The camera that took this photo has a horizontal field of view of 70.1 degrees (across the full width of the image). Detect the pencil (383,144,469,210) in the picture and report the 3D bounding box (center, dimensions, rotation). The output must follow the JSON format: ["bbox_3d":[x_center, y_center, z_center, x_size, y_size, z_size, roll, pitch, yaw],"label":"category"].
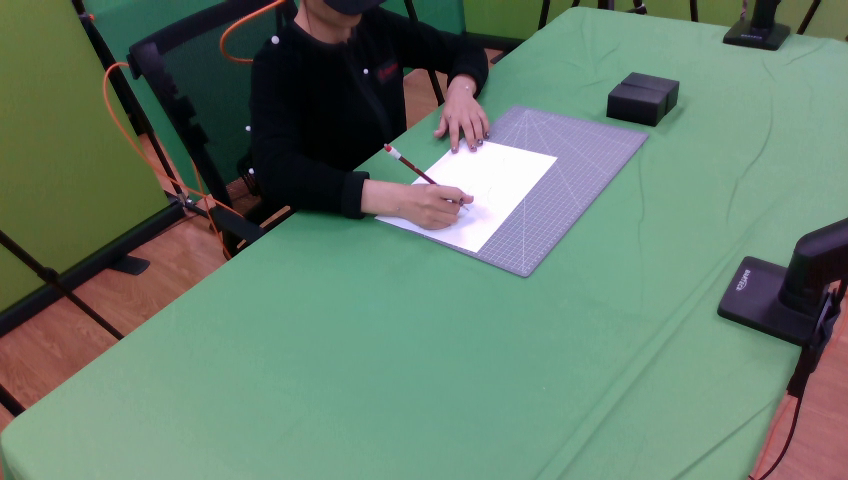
[{"bbox_3d":[0.007,-0.099,0.986,0.012,0.196,0.012,-34,37,31],"label":"pencil"}]
